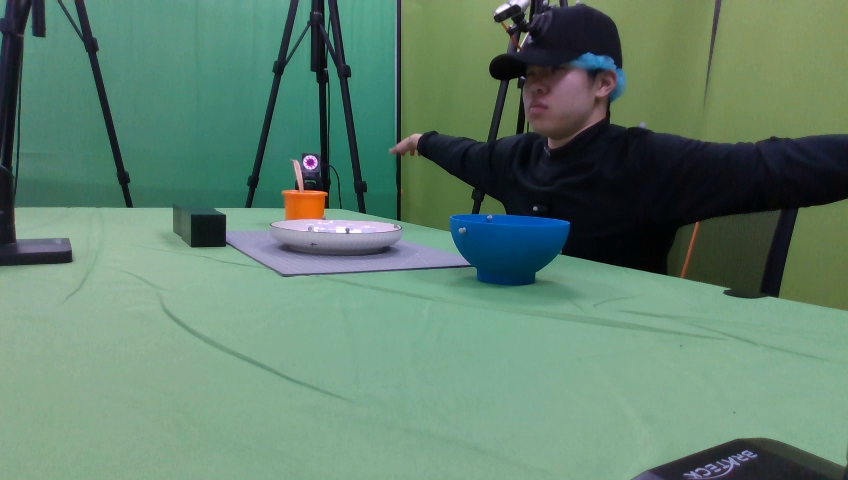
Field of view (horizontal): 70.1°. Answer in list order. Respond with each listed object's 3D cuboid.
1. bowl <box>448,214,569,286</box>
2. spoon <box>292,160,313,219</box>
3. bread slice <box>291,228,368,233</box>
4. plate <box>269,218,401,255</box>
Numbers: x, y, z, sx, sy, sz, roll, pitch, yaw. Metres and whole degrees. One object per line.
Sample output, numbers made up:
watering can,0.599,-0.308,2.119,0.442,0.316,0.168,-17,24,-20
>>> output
bowl,0.103,0.012,0.758,0.151,0.077,0.151,3,7,0
spoon,-0.259,-0.103,1.268,0.042,0.193,0.021,3,-38,-23
bread slice,-0.143,-0.004,0.953,0.135,0.018,0.106,-2,9,-37
plate,-0.140,-0.006,0.958,0.209,0.038,0.209,3,7,0
